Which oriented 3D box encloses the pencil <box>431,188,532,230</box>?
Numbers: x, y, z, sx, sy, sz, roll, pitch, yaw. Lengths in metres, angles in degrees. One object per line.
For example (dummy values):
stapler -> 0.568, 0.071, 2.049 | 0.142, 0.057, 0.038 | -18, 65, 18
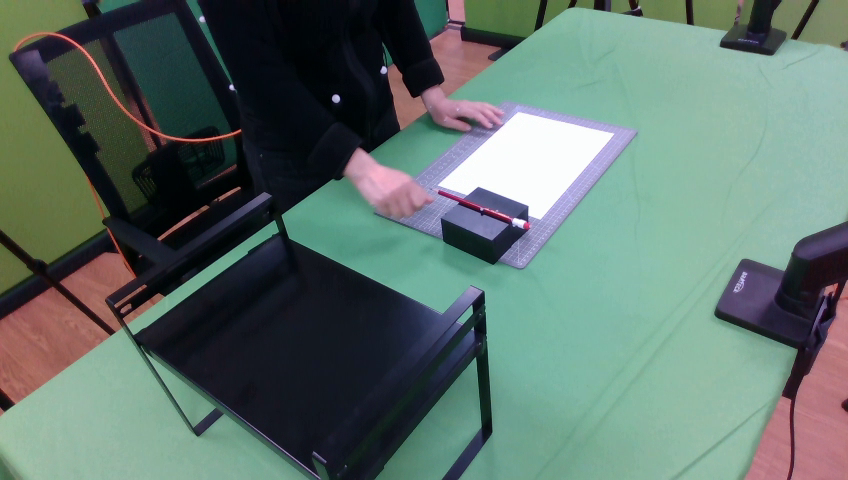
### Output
pencil -> 0.086, -0.052, 0.952 | 0.192, 0.012, 0.012 | 24, 50, 32
